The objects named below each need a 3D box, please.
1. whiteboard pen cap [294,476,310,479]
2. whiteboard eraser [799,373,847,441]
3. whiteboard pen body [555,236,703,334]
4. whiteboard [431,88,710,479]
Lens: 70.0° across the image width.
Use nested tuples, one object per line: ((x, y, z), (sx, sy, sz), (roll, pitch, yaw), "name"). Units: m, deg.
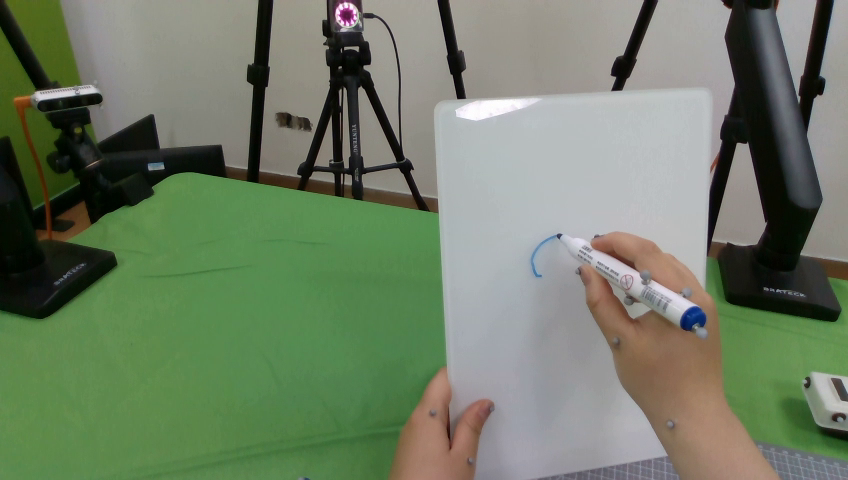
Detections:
((-0.092, 0.195, 0.456), (0.018, 0.033, 0.018), (2, 32, -1), "whiteboard pen cap")
((0.401, 0.155, 0.537), (0.112, 0.042, 0.055), (9, 34, 11), "whiteboard eraser")
((0.124, 0.023, 0.394), (0.017, 0.017, 0.139), (-11, 24, -19), "whiteboard pen body")
((0.107, 0.032, 0.531), (0.218, 0.306, 0.143), (-5, 12, -10), "whiteboard")
